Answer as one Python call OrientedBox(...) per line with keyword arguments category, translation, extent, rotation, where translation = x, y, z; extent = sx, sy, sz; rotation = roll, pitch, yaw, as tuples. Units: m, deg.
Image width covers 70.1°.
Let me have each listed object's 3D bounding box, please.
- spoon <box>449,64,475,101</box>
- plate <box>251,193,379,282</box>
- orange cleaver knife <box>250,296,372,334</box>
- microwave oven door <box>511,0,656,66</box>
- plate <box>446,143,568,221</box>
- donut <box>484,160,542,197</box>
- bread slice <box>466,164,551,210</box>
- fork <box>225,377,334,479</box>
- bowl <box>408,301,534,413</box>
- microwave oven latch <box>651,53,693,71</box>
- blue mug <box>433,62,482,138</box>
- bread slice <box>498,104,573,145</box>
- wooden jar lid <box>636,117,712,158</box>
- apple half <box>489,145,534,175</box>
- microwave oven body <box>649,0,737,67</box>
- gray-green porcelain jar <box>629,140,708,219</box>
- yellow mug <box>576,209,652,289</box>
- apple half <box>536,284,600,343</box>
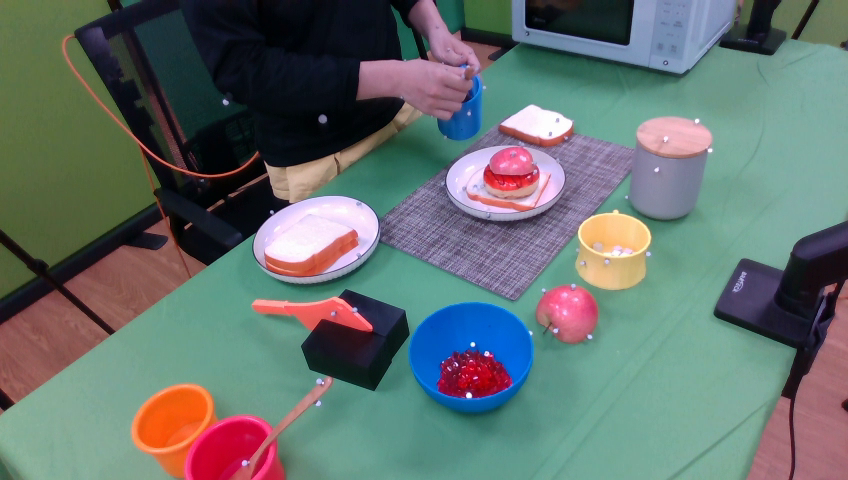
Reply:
OrientedBox(category="spoon", translation=(0.066, -0.260, 0.997), extent=(0.042, 0.193, 0.021), rotation=(10, 86, -1))
OrientedBox(category="plate", translation=(-0.174, -0.001, 0.984), extent=(0.209, 0.038, 0.208), rotation=(-4, 41, 4))
OrientedBox(category="orange cleaver knife", translation=(-0.158, 0.103, 0.828), extent=(0.210, 0.078, 0.012), rotation=(-4, 43, 39))
OrientedBox(category="microwave oven door", translation=(0.351, -0.540, 1.349), extent=(0.353, 0.245, 0.039), rotation=(24, 50, 31))
OrientedBox(category="plate", translation=(0.142, -0.097, 1.045), extent=(0.207, 0.039, 0.206), rotation=(-4, 40, 4))
OrientedBox(category="donut", translation=(0.149, -0.110, 1.016), extent=(0.099, 0.048, 0.098), rotation=(-4, 40, 4))
OrientedBox(category="bread slice", translation=(0.141, -0.093, 1.042), extent=(0.133, 0.018, 0.107), rotation=(9, 43, 20))
OrientedBox(category="fork", translation=(-0.163, 0.216, 0.646), extent=(0.207, 0.019, 0.028), rotation=(-49, 42, 16))
OrientedBox(category="bowl", translation=(0.059, 0.156, 0.739), extent=(0.151, 0.077, 0.150), rotation=(-4, 40, 4))
OrientedBox(category="microwave oven latch", translation=(0.532, -0.386, 1.301), extent=(0.078, 0.029, 0.030), rotation=(27, 52, 34))
OrientedBox(category="blue mug", translation=(0.064, -0.258, 1.077), extent=(0.082, 0.106, 0.116), rotation=(8, 67, 9))
OrientedBox(category="bread slice", translation=(0.231, -0.232, 1.205), extent=(0.105, 0.019, 0.130), rotation=(-36, 47, -29))
OrientedBox(category="wooden jar lid", translation=(0.377, -0.151, 0.917), extent=(0.108, 0.021, 0.108), rotation=(-2, 42, 3))
OrientedBox(category="apple half", translation=(0.145, -0.138, 0.995), extent=(0.081, 0.033, 0.081), rotation=(-1, 35, 1))
OrientedBox(category="microwave oven body", translation=(0.475, -0.602, 1.411), extent=(0.438, 0.261, 0.327), rotation=(23, 50, 32))
OrientedBox(category="gray-green porcelain jar", translation=(0.383, -0.105, 0.958), extent=(0.106, 0.127, 0.105), rotation=(-4, 41, 4))
OrientedBox(category="yellow mug", translation=(0.279, 0.004, 0.893), extent=(0.099, 0.064, 0.130), rotation=(5, 42, 14))
OrientedBox(category="apple half", translation=(0.196, 0.091, 0.815), extent=(0.075, 0.053, 0.080), rotation=(-22, 42, -20))
